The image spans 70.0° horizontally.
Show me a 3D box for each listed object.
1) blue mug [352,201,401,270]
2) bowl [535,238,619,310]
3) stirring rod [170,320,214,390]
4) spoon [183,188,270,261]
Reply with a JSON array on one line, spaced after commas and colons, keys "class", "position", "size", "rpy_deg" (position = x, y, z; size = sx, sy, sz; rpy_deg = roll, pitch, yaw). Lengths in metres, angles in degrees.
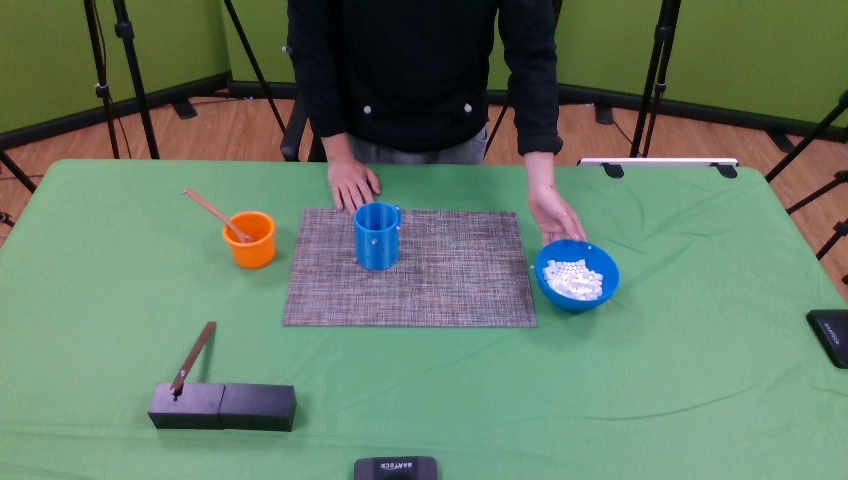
[{"class": "blue mug", "position": [-0.082, -0.017, 1.144], "size": [0.082, 0.106, 0.116], "rpy_deg": [30, 51, 22]}, {"class": "bowl", "position": [0.270, 0.076, 1.107], "size": [0.151, 0.077, 0.150], "rpy_deg": [2, 46, -2]}, {"class": "stirring rod", "position": [-0.368, 0.180, 0.969], "size": [0.014, 0.006, 0.175], "rpy_deg": [1, 27, 0]}, {"class": "spoon", "position": [-0.360, -0.029, 1.110], "size": [0.021, 0.194, 0.041], "rpy_deg": [-21, 31, 41]}]
